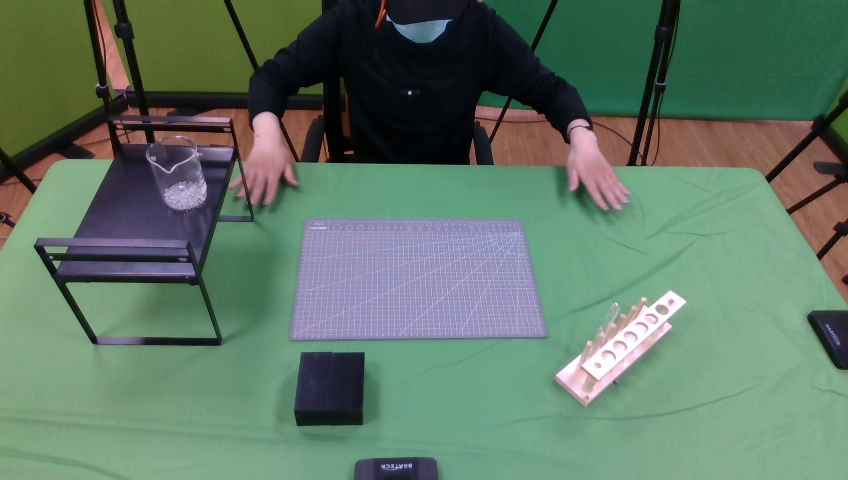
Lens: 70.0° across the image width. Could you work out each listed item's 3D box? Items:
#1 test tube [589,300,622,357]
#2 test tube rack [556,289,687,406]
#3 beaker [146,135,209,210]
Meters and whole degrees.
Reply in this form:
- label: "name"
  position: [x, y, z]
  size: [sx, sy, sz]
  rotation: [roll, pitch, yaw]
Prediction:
- label: "test tube"
  position: [0.288, 0.144, 0.970]
  size: [0.017, 0.151, 0.017]
  rotation: [2, 49, -2]
- label: "test tube rack"
  position: [0.332, 0.165, 1.014]
  size: [0.242, 0.085, 0.066]
  rotation: [-31, 55, -28]
- label: "beaker"
  position: [-0.387, -0.102, 0.961]
  size: [0.074, 0.101, 0.083]
  rotation: [-5, 48, -8]
